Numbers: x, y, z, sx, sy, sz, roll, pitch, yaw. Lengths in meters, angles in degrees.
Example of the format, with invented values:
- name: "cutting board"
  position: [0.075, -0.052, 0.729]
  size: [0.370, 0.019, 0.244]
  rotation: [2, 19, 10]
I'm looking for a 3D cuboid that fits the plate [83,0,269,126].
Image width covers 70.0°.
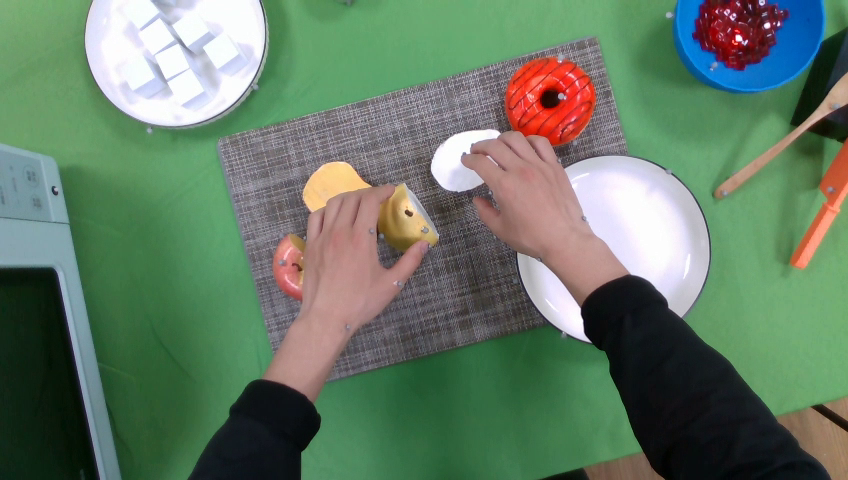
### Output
- name: "plate"
  position: [-0.276, -0.230, 0.689]
  size: [0.207, 0.039, 0.207]
  rotation: [0, 89, 2]

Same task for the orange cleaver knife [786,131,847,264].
- name: "orange cleaver knife"
  position: [0.440, -0.073, 0.641]
  size: [0.012, 0.077, 0.212]
  rotation: [22, 115, 7]

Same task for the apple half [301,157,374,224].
- name: "apple half"
  position: [-0.099, -0.048, 0.676]
  size: [0.081, 0.033, 0.080]
  rotation: [5, 68, -11]

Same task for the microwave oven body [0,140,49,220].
- name: "microwave oven body"
  position: [-0.539, 0.141, 0.580]
  size: [0.326, 0.260, 0.441]
  rotation: [-12, 90, 1]

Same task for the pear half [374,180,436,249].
- name: "pear half"
  position: [-0.025, -0.022, 0.639]
  size: [0.056, 0.110, 0.076]
  rotation: [-38, 84, 1]

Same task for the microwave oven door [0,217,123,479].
- name: "microwave oven door"
  position: [-0.387, 0.152, 0.569]
  size: [0.039, 0.244, 0.355]
  rotation: [-13, 89, 2]

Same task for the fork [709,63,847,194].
- name: "fork"
  position: [0.391, -0.121, 0.641]
  size: [0.028, 0.018, 0.207]
  rotation: [43, 111, -6]

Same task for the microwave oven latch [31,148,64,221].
- name: "microwave oven latch"
  position: [-0.428, -0.061, 0.674]
  size: [0.030, 0.029, 0.079]
  rotation: [-11, 90, 1]

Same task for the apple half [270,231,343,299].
- name: "apple half"
  position: [-0.134, 0.034, 0.660]
  size: [0.081, 0.074, 0.053]
  rotation: [40, 95, -2]

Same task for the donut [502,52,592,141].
- name: "donut"
  position: [0.134, -0.157, 0.667]
  size: [0.099, 0.048, 0.099]
  rotation: [0, 90, 5]

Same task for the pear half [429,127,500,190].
- name: "pear half"
  position: [0.048, -0.090, 0.677]
  size: [0.088, 0.031, 0.070]
  rotation: [-38, 78, -6]

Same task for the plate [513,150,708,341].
- name: "plate"
  position: [0.201, 0.006, 0.667]
  size: [0.209, 0.038, 0.209]
  rotation: [0, 90, 2]

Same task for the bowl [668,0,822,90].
- name: "bowl"
  position: [0.328, -0.228, 0.649]
  size: [0.151, 0.077, 0.151]
  rotation: [0, 90, 2]
